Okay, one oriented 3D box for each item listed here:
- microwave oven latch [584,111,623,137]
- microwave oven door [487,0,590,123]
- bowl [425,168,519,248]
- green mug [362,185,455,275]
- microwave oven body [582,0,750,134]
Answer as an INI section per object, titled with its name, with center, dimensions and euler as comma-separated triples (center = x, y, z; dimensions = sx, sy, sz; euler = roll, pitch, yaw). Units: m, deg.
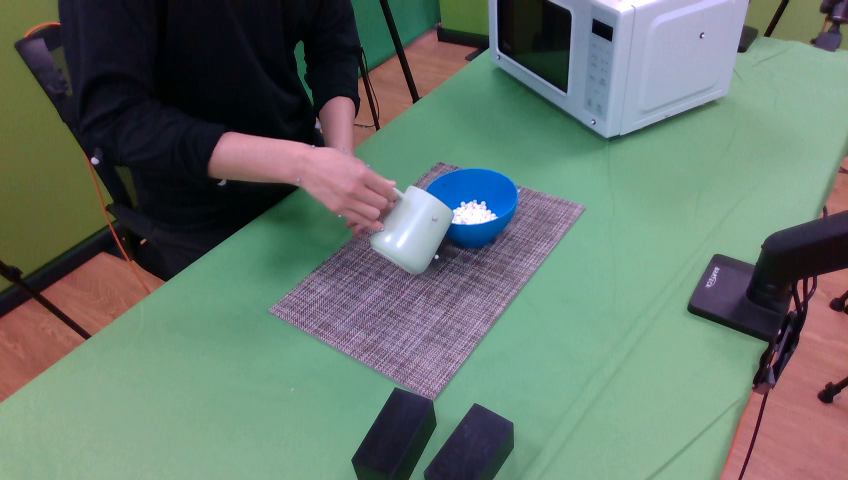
[microwave oven latch]
center = 0.337, -0.222, 1.142
dimensions = 0.030, 0.029, 0.078
euler = -21, 42, -14
[microwave oven door]
center = 0.232, -0.420, 1.230
dimensions = 0.039, 0.245, 0.352
euler = -22, 43, -16
[bowl]
center = 0.076, -0.041, 0.958
dimensions = 0.151, 0.077, 0.150
euler = -4, 40, 4
[green mug]
center = -0.029, -0.021, 0.846
dimensions = 0.105, 0.126, 0.092
euler = -57, 27, -5
[microwave oven body]
center = 0.382, -0.445, 1.246
dimensions = 0.327, 0.261, 0.437
euler = -22, 42, -16
